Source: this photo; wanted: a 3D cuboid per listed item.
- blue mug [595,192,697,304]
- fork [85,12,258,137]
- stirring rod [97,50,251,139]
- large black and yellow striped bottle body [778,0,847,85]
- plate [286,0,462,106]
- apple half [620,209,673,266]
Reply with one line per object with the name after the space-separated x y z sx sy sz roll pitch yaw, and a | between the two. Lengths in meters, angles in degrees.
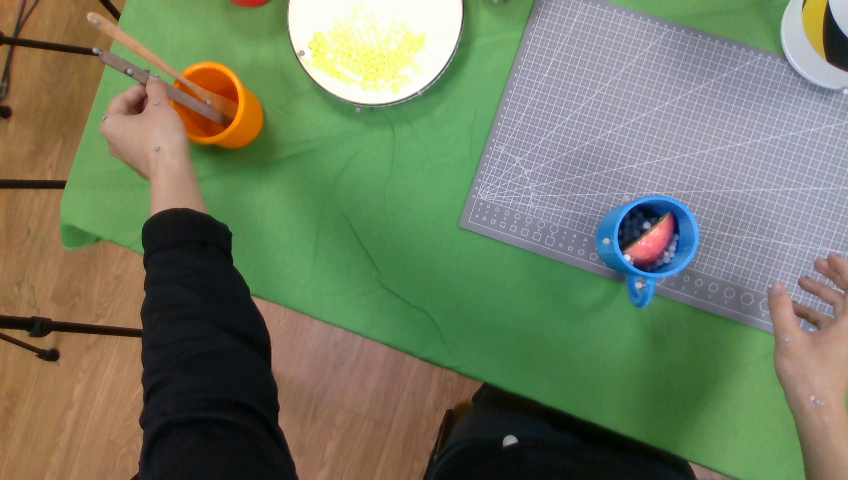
0.231 0.011 0.647 0.082 0.106 0.116 4 90 7 | blue mug
-0.278 -0.183 0.682 0.209 0.018 0.028 35 93 -36 | fork
-0.276 -0.161 0.683 0.178 0.006 0.014 27 76 -33 | stirring rod
0.449 -0.239 0.585 0.130 0.184 0.130 0 87 6 | large black and yellow striped bottle body
-0.058 -0.261 0.714 0.209 0.038 0.209 0 90 7 | plate
0.239 0.004 0.641 0.081 0.081 0.032 -41 78 5 | apple half
